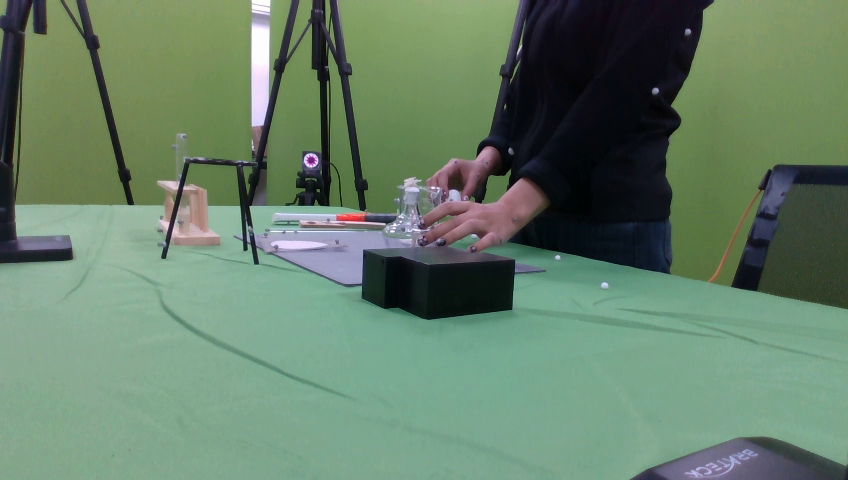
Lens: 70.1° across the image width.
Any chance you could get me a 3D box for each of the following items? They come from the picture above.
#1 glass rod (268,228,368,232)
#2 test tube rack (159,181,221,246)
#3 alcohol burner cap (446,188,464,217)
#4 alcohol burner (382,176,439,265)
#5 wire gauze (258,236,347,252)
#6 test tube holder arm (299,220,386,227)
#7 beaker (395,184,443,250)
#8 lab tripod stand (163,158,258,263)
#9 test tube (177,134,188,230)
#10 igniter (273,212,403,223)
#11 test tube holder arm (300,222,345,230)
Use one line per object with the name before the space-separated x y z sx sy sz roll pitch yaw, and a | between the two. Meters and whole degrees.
glass rod | -0.193 -0.018 1.128 0.201 0.008 0.008 0 7 -35
test tube rack | -0.395 -0.050 1.010 0.067 0.085 0.241 -2 8 -28
alcohol burner cap | 0.051 -0.065 1.038 0.034 0.048 0.034 -5 -8 0
alcohol burner | -0.018 -0.027 0.818 0.078 0.119 0.078 3 10 0
wire gauze | -0.189 0.005 0.931 0.122 0.011 0.124 1 7 -21
test tube holder arm | -0.158 -0.032 1.196 0.179 0.015 0.013 -2 43 -29
beaker | -0.007 -0.037 0.965 0.074 0.100 0.083 -4 10 -40
lab tripod stand | -0.265 -0.041 0.802 0.148 0.131 0.148 4 7 0
test tube | -0.374 -0.089 0.938 0.017 0.150 0.017 2 4 0
igniter | -0.179 -0.048 1.290 0.278 0.025 0.057 -1 -2 -24
test tube holder arm | -0.196 -0.027 1.170 0.088 0.015 0.010 -1 43 -29
